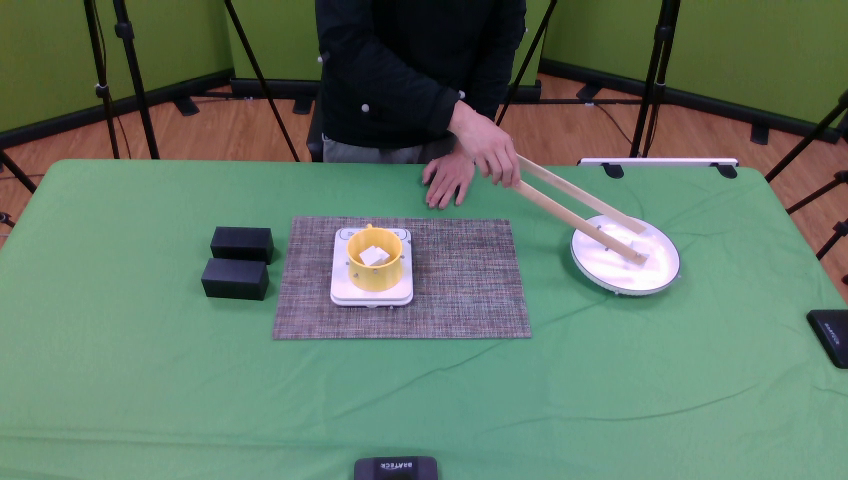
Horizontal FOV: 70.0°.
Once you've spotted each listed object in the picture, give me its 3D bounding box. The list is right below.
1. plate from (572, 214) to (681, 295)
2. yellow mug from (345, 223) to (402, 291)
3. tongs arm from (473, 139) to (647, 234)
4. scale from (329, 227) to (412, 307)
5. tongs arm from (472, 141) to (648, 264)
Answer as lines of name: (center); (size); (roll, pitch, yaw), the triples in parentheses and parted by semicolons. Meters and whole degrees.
plate: (0.393, 0.030, 1.189); (0.208, 0.039, 0.206); (2, 46, -2)
yellow mug: (-0.092, 0.022, 1.093); (0.100, 0.064, 0.130); (-8, 46, -10)
tongs arm: (0.266, -0.099, 1.160); (0.389, 0.028, 0.028); (26, 51, -14)
scale: (-0.099, 0.042, 1.139); (0.149, 0.032, 0.199); (1, 46, -4)
tongs arm: (0.255, -0.065, 1.125); (0.386, 0.026, 0.050); (29, 47, -11)
